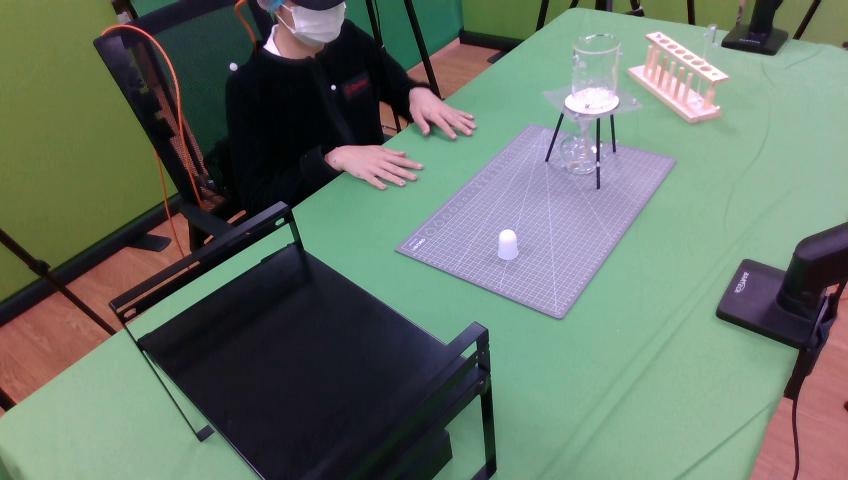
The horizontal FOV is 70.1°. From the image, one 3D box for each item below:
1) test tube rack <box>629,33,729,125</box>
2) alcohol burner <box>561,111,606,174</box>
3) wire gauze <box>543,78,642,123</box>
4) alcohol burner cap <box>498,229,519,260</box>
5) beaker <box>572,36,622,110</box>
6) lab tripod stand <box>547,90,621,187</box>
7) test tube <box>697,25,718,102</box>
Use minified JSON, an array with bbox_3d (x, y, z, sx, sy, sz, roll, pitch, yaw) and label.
[{"bbox_3d":[0.516,-0.337,1.247,0.067,0.085,0.240,-14,41,-7],"label":"test tube rack"},{"bbox_3d":[0.283,-0.177,1.071,0.078,0.119,0.077,-5,42,5],"label":"alcohol burner"},{"bbox_3d":[0.282,-0.234,1.022,0.125,0.011,0.120,-17,38,-4],"label":"wire gauze"},{"bbox_3d":[0.131,0.004,0.938,0.034,0.048,0.033,-4,40,4],"label":"alcohol burner cap"},{"bbox_3d":[0.279,-0.274,0.992,0.074,0.101,0.083,-14,40,-5],"label":"beaker"},{"bbox_3d":[0.289,-0.184,1.062,0.148,0.132,0.147,-6,41,6],"label":"lab tripod stand"},{"bbox_3d":[0.546,-0.337,1.166,0.017,0.151,0.017,-5,36,4],"label":"test tube"}]
